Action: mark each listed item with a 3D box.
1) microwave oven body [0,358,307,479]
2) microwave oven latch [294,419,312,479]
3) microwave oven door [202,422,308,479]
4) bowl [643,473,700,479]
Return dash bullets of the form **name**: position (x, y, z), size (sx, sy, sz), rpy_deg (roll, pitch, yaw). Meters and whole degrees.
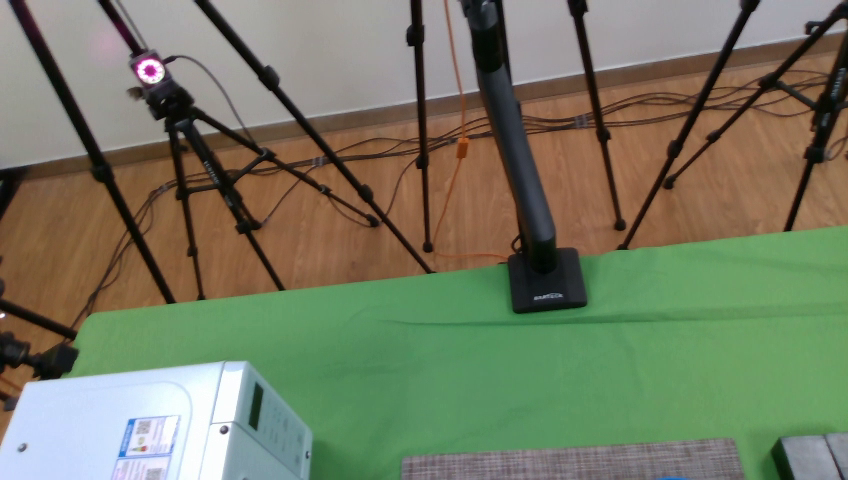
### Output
- **microwave oven body**: position (-0.342, 0.401, 0.710), size (0.326, 0.263, 0.437), rpy_deg (-7, 52, 8)
- **microwave oven latch**: position (-0.179, 0.302, 0.873), size (0.030, 0.030, 0.078), rpy_deg (-7, 52, 8)
- **microwave oven door**: position (-0.199, 0.411, 0.660), size (0.039, 0.246, 0.352), rpy_deg (-8, 51, 8)
- **bowl**: position (0.295, 0.358, 0.702), size (0.151, 0.077, 0.150), rpy_deg (-7, 52, 9)
